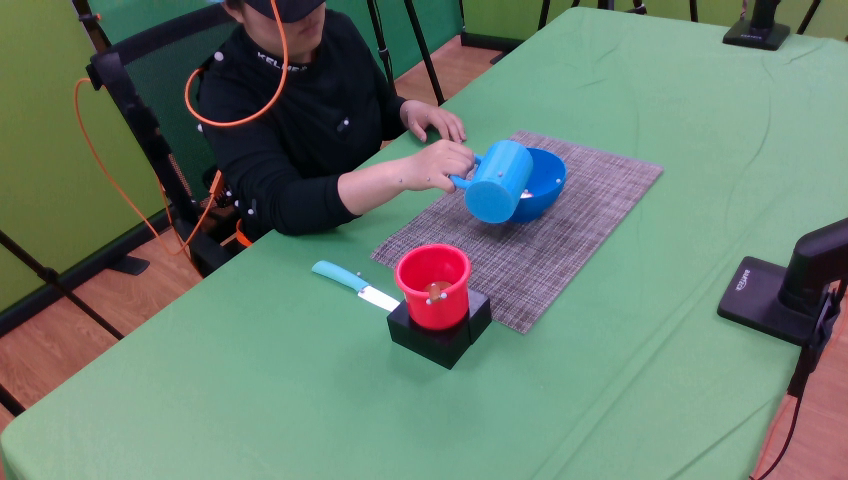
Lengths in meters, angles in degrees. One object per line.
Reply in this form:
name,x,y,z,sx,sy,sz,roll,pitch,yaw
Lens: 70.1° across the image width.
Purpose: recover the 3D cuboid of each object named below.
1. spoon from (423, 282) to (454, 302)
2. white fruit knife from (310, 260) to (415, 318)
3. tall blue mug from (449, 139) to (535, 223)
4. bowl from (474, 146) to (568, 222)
spoon,0.015,0.062,0.733,0.041,0.021,0.194,-5,-4,3
white fruit knife,-0.094,0.074,0.920,0.206,0.016,0.027,24,77,30
tall blue mug,0.100,-0.096,0.884,0.107,0.077,0.108,37,47,-8
bowl,0.161,-0.083,1.001,0.151,0.077,0.150,-5,40,5
